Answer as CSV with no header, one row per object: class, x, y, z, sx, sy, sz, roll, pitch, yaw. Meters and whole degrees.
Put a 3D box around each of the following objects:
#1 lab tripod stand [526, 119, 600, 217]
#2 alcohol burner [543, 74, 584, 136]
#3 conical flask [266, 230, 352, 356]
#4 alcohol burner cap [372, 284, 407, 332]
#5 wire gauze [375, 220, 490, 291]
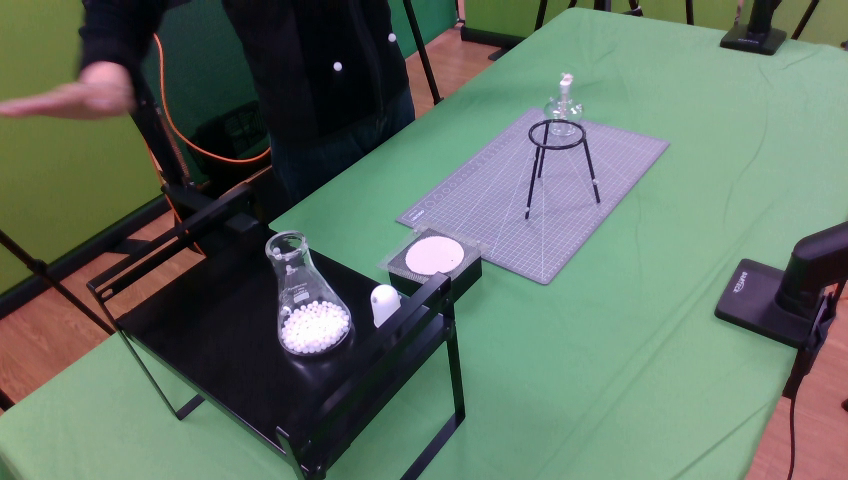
lab tripod stand,0.220,-0.122,0.995,0.148,0.132,0.147,-3,39,3
alcohol burner,0.270,-0.263,1.169,0.078,0.119,0.077,-6,39,5
conical flask,-0.116,0.047,0.580,0.075,0.122,0.075,-5,40,4
alcohol burner cap,-0.036,0.066,0.608,0.034,0.048,0.033,-5,38,5
wire gauze,0.012,0.022,0.882,0.120,0.011,0.125,22,47,33
